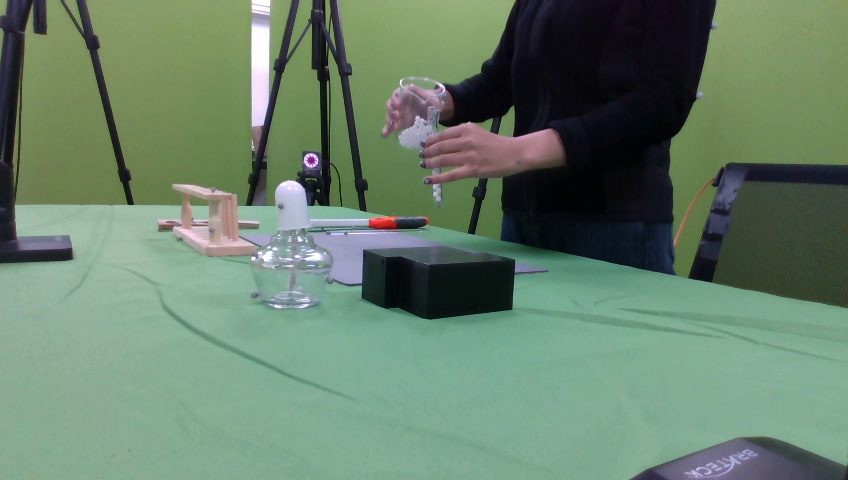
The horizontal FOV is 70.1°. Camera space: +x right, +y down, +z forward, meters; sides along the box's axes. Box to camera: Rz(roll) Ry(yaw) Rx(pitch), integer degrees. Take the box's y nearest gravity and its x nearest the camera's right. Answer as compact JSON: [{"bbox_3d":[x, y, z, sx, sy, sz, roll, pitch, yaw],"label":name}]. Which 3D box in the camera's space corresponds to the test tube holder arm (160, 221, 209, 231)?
[{"bbox_3d":[-0.423,-0.024,1.076,0.088,0.015,0.010,-3,45,-38],"label":"test tube holder arm"}]

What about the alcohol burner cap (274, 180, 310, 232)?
[{"bbox_3d":[-0.125,-0.032,0.563,0.034,0.048,0.034,-5,6,1],"label":"alcohol burner cap"}]

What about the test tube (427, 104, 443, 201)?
[{"bbox_3d":[0.017,-0.133,0.918,0.017,0.150,0.017,-3,-7,0],"label":"test tube"}]

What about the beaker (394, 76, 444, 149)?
[{"bbox_3d":[-0.010,-0.205,0.988,0.074,0.100,0.083,3,34,-8],"label":"beaker"}]

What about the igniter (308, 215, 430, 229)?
[{"bbox_3d":[-0.108,-0.037,1.228,0.278,0.025,0.057,-3,-1,-35],"label":"igniter"}]

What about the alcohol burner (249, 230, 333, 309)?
[{"bbox_3d":[-0.125,0.004,0.568,0.078,0.119,0.078,2,10,0],"label":"alcohol burner"}]

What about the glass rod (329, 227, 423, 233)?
[{"bbox_3d":[-0.087,-0.019,1.148,0.201,0.008,0.008,-3,8,-32],"label":"glass rod"}]

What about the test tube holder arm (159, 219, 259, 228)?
[{"bbox_3d":[-0.390,-0.030,1.107,0.179,0.015,0.013,-3,45,-39],"label":"test tube holder arm"}]

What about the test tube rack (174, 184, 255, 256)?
[{"bbox_3d":[-0.327,-0.036,0.928,0.067,0.085,0.241,-2,9,-32],"label":"test tube rack"}]
